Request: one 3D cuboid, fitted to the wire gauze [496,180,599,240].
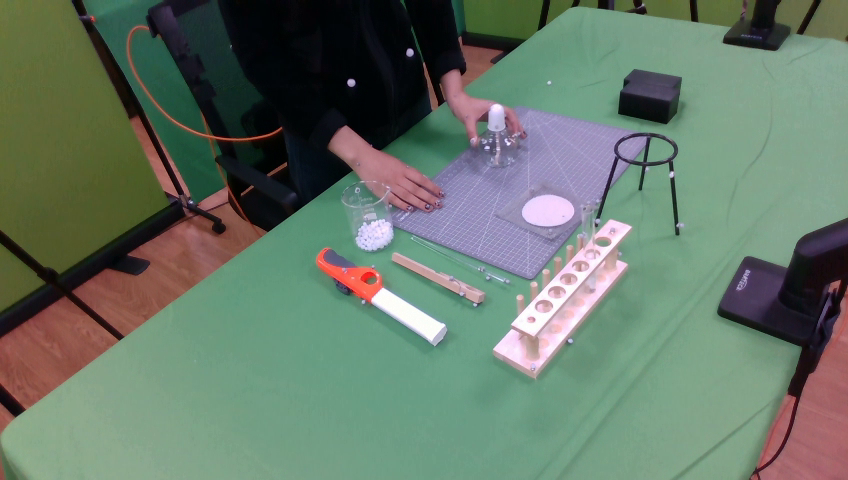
[{"bbox_3d":[0.206,-0.050,1.012,0.125,0.011,0.120,-34,45,-26],"label":"wire gauze"}]

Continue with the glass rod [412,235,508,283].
[{"bbox_3d":[0.051,0.028,0.951,0.198,0.008,0.008,25,52,37],"label":"glass rod"}]

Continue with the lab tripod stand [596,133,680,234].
[{"bbox_3d":[0.338,-0.091,0.940,0.148,0.132,0.147,-7,39,6],"label":"lab tripod stand"}]

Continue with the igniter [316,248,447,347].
[{"bbox_3d":[-0.074,0.078,0.901,0.274,0.025,0.057,29,64,36],"label":"igniter"}]

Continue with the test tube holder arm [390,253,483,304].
[{"bbox_3d":[0.015,0.055,0.916,0.177,0.015,0.013,24,16,33],"label":"test tube holder arm"}]

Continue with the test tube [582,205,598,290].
[{"bbox_3d":[0.220,0.014,0.798,0.017,0.151,0.017,-9,43,9],"label":"test tube"}]

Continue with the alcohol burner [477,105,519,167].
[{"bbox_3d":[0.136,-0.196,1.114,0.078,0.119,0.077,-4,39,4],"label":"alcohol burner"}]

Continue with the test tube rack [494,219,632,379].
[{"bbox_3d":[0.191,0.068,0.818,0.066,0.085,0.243,25,51,35],"label":"test tube rack"}]

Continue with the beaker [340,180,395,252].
[{"bbox_3d":[-0.086,-0.037,0.985,0.084,0.101,0.073,-18,41,-11],"label":"beaker"}]

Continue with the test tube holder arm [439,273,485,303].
[{"bbox_3d":[0.053,0.070,0.896,0.087,0.015,0.010,24,16,34],"label":"test tube holder arm"}]

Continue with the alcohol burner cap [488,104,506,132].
[{"bbox_3d":[0.131,-0.222,1.090,0.034,0.048,0.033,-4,46,4],"label":"alcohol burner cap"}]
